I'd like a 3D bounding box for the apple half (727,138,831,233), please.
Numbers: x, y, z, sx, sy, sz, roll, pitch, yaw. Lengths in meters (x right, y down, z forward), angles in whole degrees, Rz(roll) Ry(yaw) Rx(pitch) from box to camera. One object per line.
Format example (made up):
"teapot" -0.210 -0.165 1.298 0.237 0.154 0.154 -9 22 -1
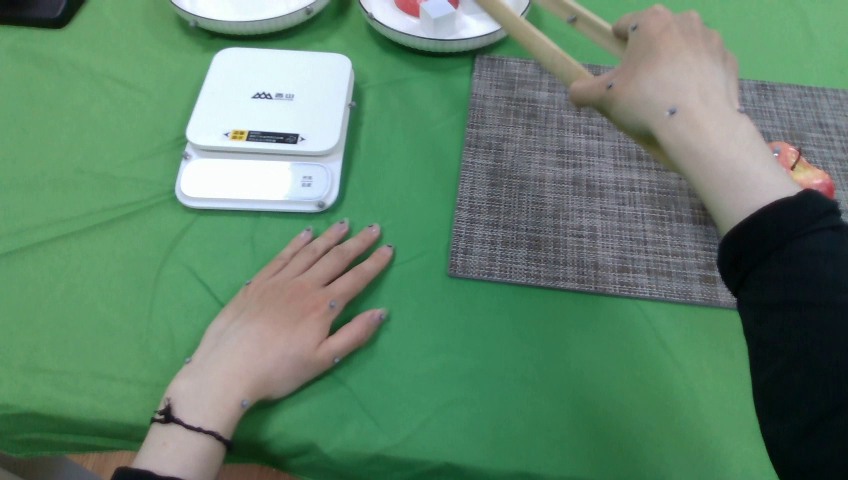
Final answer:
"apple half" 0.300 -0.041 0.531 0.053 0.075 0.080 -27 63 -14

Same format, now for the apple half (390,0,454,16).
"apple half" -0.001 -0.303 0.724 0.081 0.033 0.080 -1 52 1

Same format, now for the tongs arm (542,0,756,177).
"tongs arm" 0.138 -0.183 0.533 0.051 0.027 0.380 -29 54 -16

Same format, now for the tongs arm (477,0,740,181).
"tongs arm" 0.114 -0.172 0.527 0.028 0.028 0.383 -24 53 -17

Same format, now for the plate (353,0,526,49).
"plate" 0.018 -0.291 0.723 0.209 0.038 0.207 1 55 -1

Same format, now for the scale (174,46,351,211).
"scale" -0.154 -0.115 0.599 0.149 0.032 0.199 2 56 0

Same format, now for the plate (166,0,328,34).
"plate" -0.206 -0.312 0.731 0.208 0.039 0.205 1 55 -1
